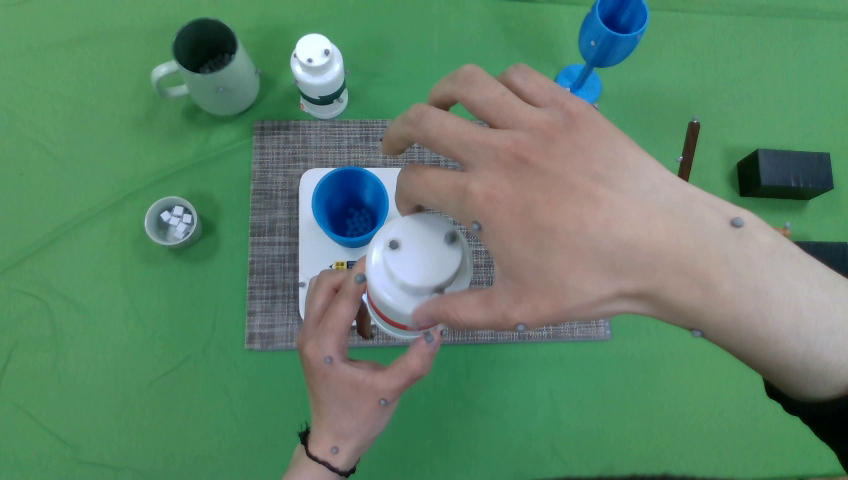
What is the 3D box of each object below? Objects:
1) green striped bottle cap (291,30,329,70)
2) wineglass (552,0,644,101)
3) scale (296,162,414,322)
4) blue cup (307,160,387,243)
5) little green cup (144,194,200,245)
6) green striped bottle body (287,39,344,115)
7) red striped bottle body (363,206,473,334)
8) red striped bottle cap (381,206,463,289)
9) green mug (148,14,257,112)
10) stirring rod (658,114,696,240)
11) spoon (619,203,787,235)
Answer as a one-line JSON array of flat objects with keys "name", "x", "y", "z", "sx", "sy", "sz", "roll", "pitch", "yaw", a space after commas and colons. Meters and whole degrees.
[{"name": "green striped bottle cap", "x": -0.134, "y": -0.224, "z": 0.714, "sx": 0.044, "sy": 0.020, "sz": 0.044, "roll": 1, "pitch": 76, "yaw": -4}, {"name": "wineglass", "x": 0.214, "y": -0.245, "z": 0.767, "sx": 0.074, "sy": 0.173, "sz": 0.073, "roll": 1, "pitch": 77, "yaw": -3}, {"name": "scale", "x": -0.085, "y": 0.000, "z": 0.762, "sx": 0.149, "sy": 0.031, "sz": 0.200, "roll": -2, "pitch": 78, "yaw": -4}, {"name": "blue cup", "x": -0.087, "y": -0.035, "z": 0.703, "sx": 0.093, "sy": 0.100, "sz": 0.092, "roll": 1, "pitch": 79, "yaw": -6}, {"name": "little green cup", "x": -0.309, "y": -0.023, "z": 0.752, "sx": 0.061, "sy": 0.039, "sz": 0.061, "roll": 1, "pitch": 77, "yaw": -5}, {"name": "green striped bottle body", "x": -0.136, "y": -0.212, "z": 0.765, "sx": 0.063, "sy": 0.119, "sz": 0.063, "roll": 1, "pitch": 76, "yaw": -3}, {"name": "red striped bottle body", "x": -0.006, "y": 0.020, "z": 0.380, "sx": 0.063, "sy": 0.120, "sz": 0.062, "roll": 2, "pitch": 72, "yaw": -6}, {"name": "red striped bottle cap", "x": -0.001, "y": 0.003, "z": 0.328, "sx": 0.044, "sy": 0.018, "sz": 0.044, "roll": 3, "pitch": 65, "yaw": -6}, {"name": "green mug", "x": -0.282, "y": -0.214, "z": 0.764, "sx": 0.125, "sy": 0.105, "sz": 0.092, "roll": -23, "pitch": 80, "yaw": -8}, {"name": "stirring rod", "x": 0.311, "y": -0.072, "z": 0.748, "sx": 0.014, "sy": 0.177, "sz": 0.006, "roll": 4, "pitch": 36, "yaw": 10}, {"name": "spoon", "x": 0.332, "y": -0.022, "z": 0.737, "sx": 0.022, "sy": 0.192, "sz": 0.041, "roll": 19, "pitch": 81, "yaw": -44}]
